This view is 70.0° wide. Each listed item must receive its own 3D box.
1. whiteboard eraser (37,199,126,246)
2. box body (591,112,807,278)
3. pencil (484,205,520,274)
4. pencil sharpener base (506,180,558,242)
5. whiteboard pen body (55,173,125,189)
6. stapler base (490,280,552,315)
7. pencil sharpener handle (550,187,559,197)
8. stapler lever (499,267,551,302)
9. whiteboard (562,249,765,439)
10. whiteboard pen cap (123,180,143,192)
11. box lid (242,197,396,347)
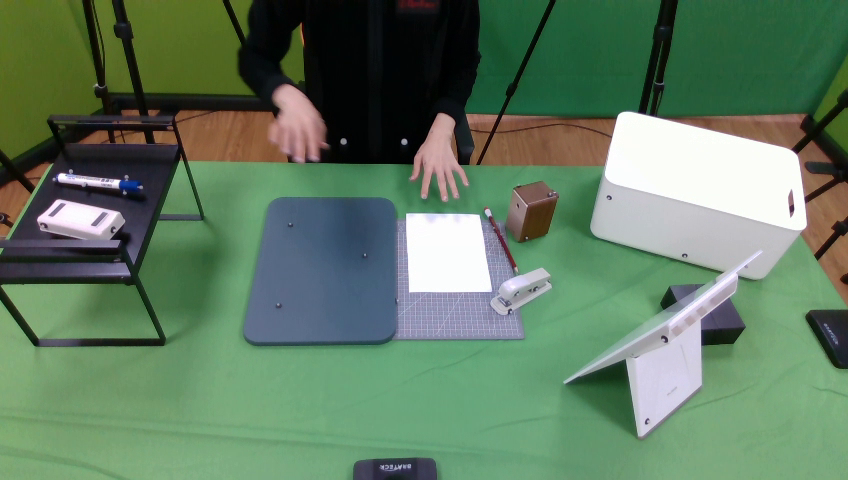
[{"bbox_3d":[-0.518,-0.025,0.918,0.112,0.042,0.055,12,49,7],"label":"whiteboard eraser"},{"bbox_3d":[0.540,-0.092,1.229,0.363,0.161,0.253,16,47,11],"label":"box body"},{"bbox_3d":[0.157,-0.002,1.218,0.012,0.012,0.192,-10,48,-13],"label":"pencil"},{"bbox_3d":[0.216,-0.059,1.211,0.077,0.107,0.061,-16,49,-19],"label":"pencil sharpener base"},{"bbox_3d":[-0.539,-0.095,0.998,0.141,0.017,0.017,6,46,6],"label":"whiteboard pen body"},{"bbox_3d":[0.181,0.094,1.118,0.130,0.024,0.041,-24,57,-29],"label":"stapler base"},{"bbox_3d":[0.261,-0.084,1.221,0.031,0.068,0.036,-16,65,-19],"label":"pencil sharpener handle"},{"bbox_3d":[0.185,0.076,1.101,0.118,0.040,0.026,-25,57,-29],"label":"stapler lever"},{"bbox_3d":[0.386,0.176,0.905,0.217,0.306,0.143,-26,72,-26],"label":"whiteboard"},{"bbox_3d":[-0.479,-0.089,0.993,0.033,0.018,0.018,7,46,14],"label":"whiteboard pen cap"},{"bbox_3d":[-0.186,0.046,1.147,0.263,0.015,0.369,0,46,-3],"label":"box lid"}]
